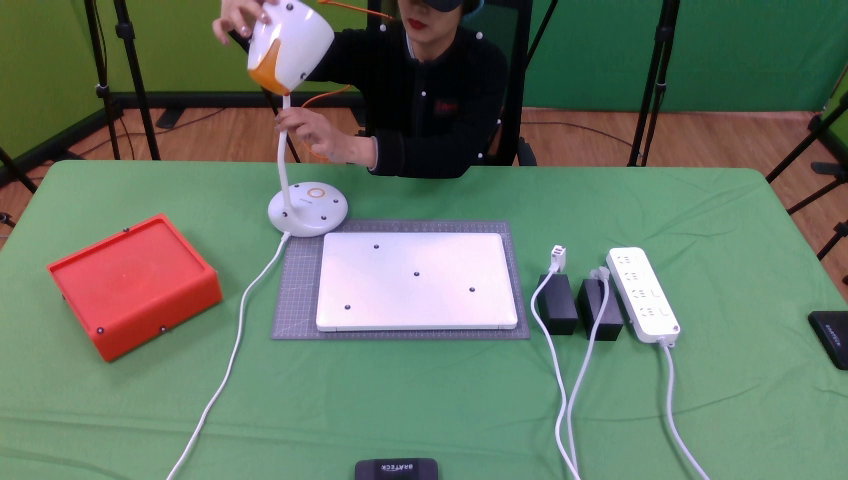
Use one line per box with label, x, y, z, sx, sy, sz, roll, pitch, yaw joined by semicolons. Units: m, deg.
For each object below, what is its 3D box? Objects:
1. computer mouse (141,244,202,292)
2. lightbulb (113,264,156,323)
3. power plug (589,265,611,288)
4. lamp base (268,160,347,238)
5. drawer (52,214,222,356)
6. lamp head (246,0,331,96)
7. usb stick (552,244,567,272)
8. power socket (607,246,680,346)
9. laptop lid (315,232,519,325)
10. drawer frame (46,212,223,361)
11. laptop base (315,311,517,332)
computer mouse;-0.459;0.045;1.099;0.116;0.041;0.063;30;52;29
lightbulb;-0.493;0.091;1.045;0.059;0.060;0.107;9;62;5
power plug;0.318;0.073;1.108;0.035;0.053;0.072;26;34;13
lamp base;-0.239;-0.111;1.176;0.160;0.181;0.178;12;48;10
drawer;-0.494;0.072;1.053;0.212;0.073;0.193;-33;57;-29
lamp head;-0.212;-0.278;0.905;0.112;0.113;0.123;24;89;19
usb stick;0.251;0.039;1.124;0.021;0.059;0.027;14;47;24
power socket;0.403;0.096;1.123;0.072;0.033;0.225;-2;46;-5
laptop lid;-0.015;0.065;1.118;0.357;0.013;0.240;1;43;-3
drawer frame;-0.496;0.072;1.049;0.213;0.083;0.200;-33;56;-29
laptop base;-0.016;0.075;1.125;0.355;0.023;0.234;0;42;-4
